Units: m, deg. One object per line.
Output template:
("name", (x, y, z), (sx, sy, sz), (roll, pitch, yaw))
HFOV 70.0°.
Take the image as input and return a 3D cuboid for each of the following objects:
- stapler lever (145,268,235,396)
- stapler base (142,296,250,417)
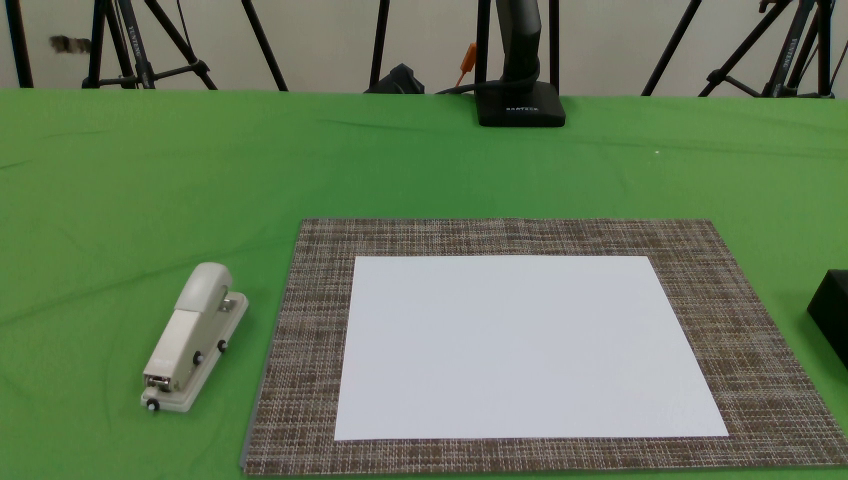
("stapler lever", (-0.190, 0.070, 0.497), (0.027, 0.040, 0.117), (6, 40, 8))
("stapler base", (-0.191, 0.088, 0.514), (0.041, 0.024, 0.129), (6, 40, 8))
